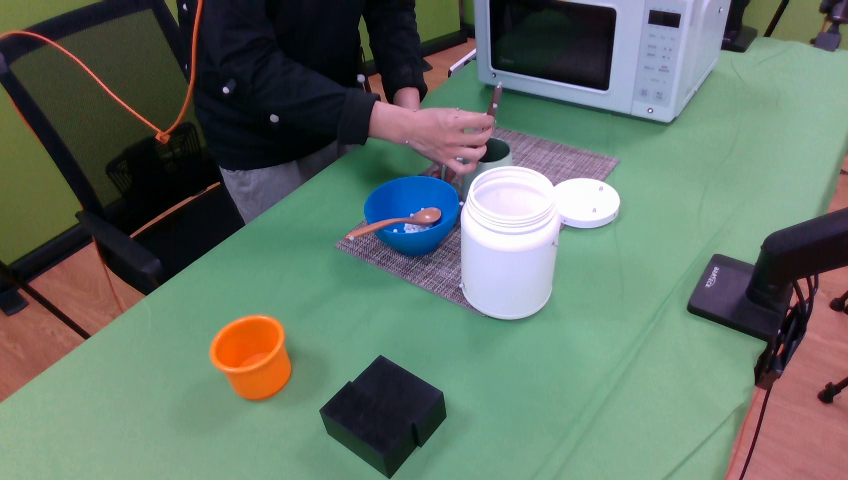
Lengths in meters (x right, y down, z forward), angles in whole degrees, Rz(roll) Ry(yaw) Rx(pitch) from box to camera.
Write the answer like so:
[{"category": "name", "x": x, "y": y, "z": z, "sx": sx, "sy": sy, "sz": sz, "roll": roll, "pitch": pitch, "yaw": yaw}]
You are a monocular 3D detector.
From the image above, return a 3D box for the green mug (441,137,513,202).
[{"category": "green mug", "x": 0.091, "y": -0.108, "z": 1.012, "sx": 0.125, "sy": 0.105, "sz": 0.092, "roll": 2, "pitch": 42, "yaw": 11}]

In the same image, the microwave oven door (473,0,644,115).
[{"category": "microwave oven door", "x": 0.257, "y": -0.396, "z": 1.199, "sx": 0.353, "sy": 0.245, "sz": 0.039, "roll": 21, "pitch": 48, "yaw": 29}]

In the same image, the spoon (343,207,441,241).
[{"category": "spoon", "x": -0.046, "y": -0.026, "z": 0.911, "sx": 0.041, "sy": 0.021, "sz": 0.195, "roll": 26, "pitch": 27, "yaw": 38}]

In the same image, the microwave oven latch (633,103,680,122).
[{"category": "microwave oven latch", "x": 0.443, "y": -0.249, "z": 1.157, "sx": 0.078, "sy": 0.029, "sz": 0.030, "roll": 20, "pitch": 48, "yaw": 29}]

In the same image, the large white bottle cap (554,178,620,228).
[{"category": "large white bottle cap", "x": 0.265, "y": -0.063, "z": 1.001, "sx": 0.115, "sy": 0.018, "sz": 0.114, "roll": -3, "pitch": 41, "yaw": 3}]

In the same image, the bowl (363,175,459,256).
[{"category": "bowl", "x": -0.017, "y": -0.028, "z": 0.954, "sx": 0.151, "sy": 0.077, "sz": 0.150, "roll": -4, "pitch": 40, "yaw": 4}]

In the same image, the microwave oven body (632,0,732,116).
[{"category": "microwave oven body", "x": 0.377, "y": -0.463, "z": 1.267, "sx": 0.438, "sy": 0.261, "sz": 0.327, "roll": 21, "pitch": 49, "yaw": 30}]

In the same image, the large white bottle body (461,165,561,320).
[{"category": "large white bottle body", "x": 0.115, "y": 0.004, "z": 0.816, "sx": 0.130, "sy": 0.185, "sz": 0.130, "roll": -2, "pitch": 43, "yaw": 2}]

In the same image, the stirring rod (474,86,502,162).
[{"category": "stirring rod", "x": 0.097, "y": -0.174, "z": 0.937, "sx": 0.014, "sy": 0.176, "sz": 0.006, "roll": -25, "pitch": 66, "yaw": -19}]
